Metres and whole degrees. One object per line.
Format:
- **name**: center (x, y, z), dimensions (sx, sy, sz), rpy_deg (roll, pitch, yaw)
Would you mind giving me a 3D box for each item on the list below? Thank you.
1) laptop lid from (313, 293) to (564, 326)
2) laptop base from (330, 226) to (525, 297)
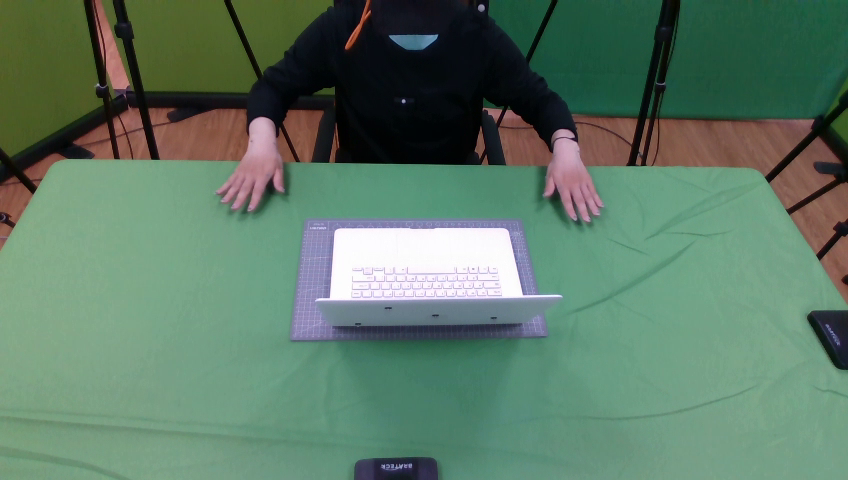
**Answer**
- **laptop lid**: center (0.017, 0.112, 0.945), dimensions (0.357, 0.242, 0.013), rpy_deg (0, 74, -5)
- **laptop base**: center (0.005, 0.061, 1.137), dimensions (0.355, 0.023, 0.234), rpy_deg (-1, 43, -4)
